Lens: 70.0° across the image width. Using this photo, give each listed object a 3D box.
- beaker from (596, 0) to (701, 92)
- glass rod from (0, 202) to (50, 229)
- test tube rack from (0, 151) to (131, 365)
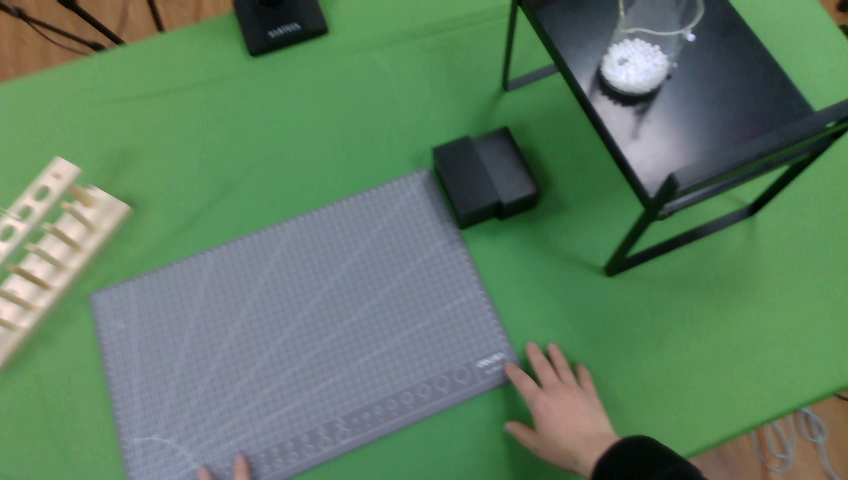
[{"bbox_3d":[0.209,-0.197,0.584,0.084,0.101,0.073,-35,71,-10],"label":"beaker"},{"bbox_3d":[-0.466,-0.038,0.671,0.008,0.201,0.008,-1,75,3],"label":"glass rod"},{"bbox_3d":[-0.470,0.021,0.720,0.066,0.086,0.241,27,72,12],"label":"test tube rack"}]
